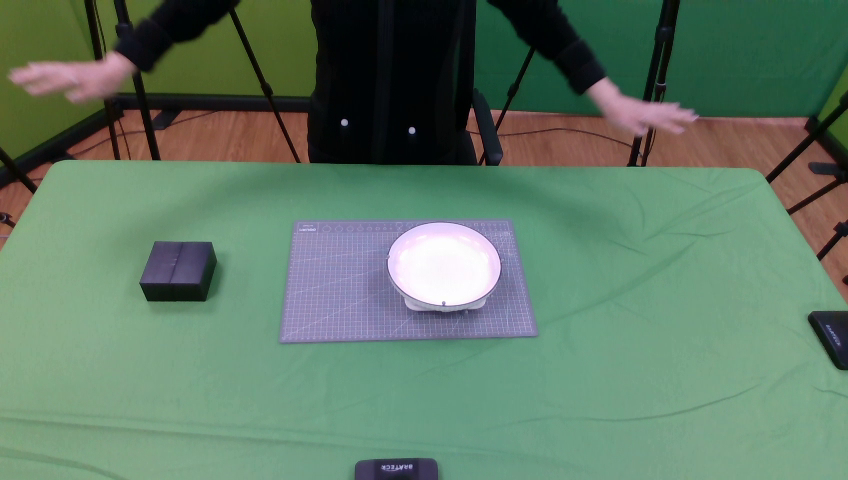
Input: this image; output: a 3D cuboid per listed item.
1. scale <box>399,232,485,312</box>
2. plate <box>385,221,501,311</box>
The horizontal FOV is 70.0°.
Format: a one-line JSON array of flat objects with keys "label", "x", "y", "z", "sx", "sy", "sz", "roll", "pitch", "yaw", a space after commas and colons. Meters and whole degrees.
[{"label": "scale", "x": 0.031, "y": 0.050, "z": 1.141, "sx": 0.149, "sy": 0.032, "sz": 0.199, "roll": -1, "pitch": 46, "yaw": -6}, {"label": "plate", "x": 0.034, "y": 0.049, "z": 1.096, "sx": 0.209, "sy": 0.038, "sz": 0.208, "roll": 2, "pitch": 46, "yaw": -2}]
